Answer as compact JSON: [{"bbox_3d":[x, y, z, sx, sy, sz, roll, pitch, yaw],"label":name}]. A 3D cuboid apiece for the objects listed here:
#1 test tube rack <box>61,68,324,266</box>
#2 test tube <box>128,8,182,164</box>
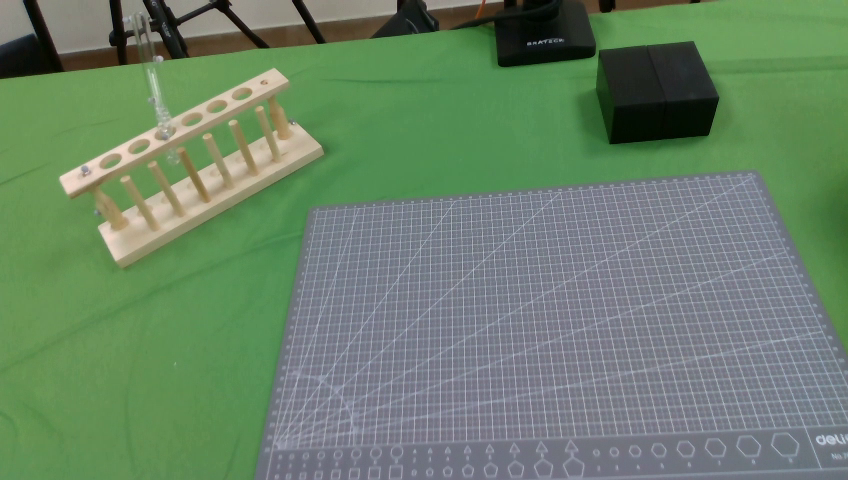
[{"bbox_3d":[-0.234,-0.081,0.640,0.242,0.086,0.066,-34,53,-18],"label":"test tube rack"},{"bbox_3d":[-0.265,-0.150,0.602,0.017,0.151,0.017,-6,19,3],"label":"test tube"}]
